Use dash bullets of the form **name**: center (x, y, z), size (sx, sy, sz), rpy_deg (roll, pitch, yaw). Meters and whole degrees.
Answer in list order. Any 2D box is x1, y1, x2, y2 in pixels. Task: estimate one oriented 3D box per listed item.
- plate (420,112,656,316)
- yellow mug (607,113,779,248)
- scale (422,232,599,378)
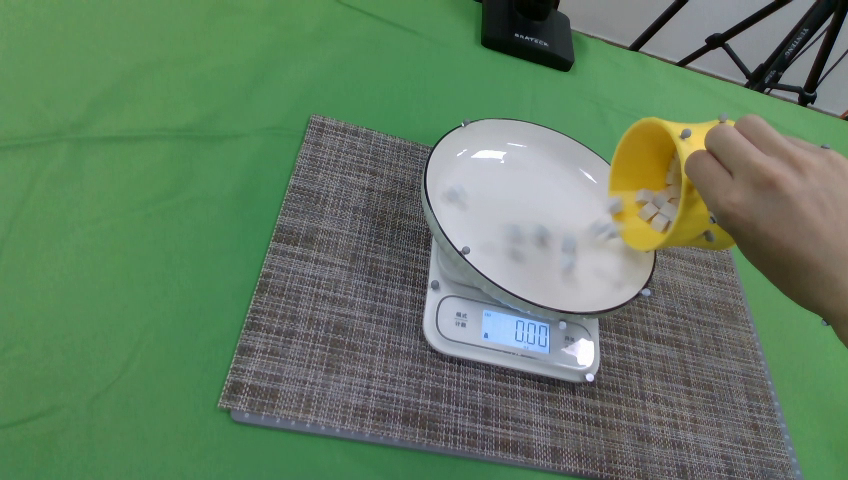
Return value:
- **plate**: center (0.094, -0.023, 0.513), size (0.210, 0.038, 0.207), rpy_deg (10, 51, -13)
- **yellow mug**: center (0.196, -0.045, 0.443), size (0.064, 0.130, 0.100), rpy_deg (-3, 91, -14)
- **scale**: center (0.078, 0.013, 0.523), size (0.149, 0.032, 0.199), rpy_deg (14, 51, -9)
